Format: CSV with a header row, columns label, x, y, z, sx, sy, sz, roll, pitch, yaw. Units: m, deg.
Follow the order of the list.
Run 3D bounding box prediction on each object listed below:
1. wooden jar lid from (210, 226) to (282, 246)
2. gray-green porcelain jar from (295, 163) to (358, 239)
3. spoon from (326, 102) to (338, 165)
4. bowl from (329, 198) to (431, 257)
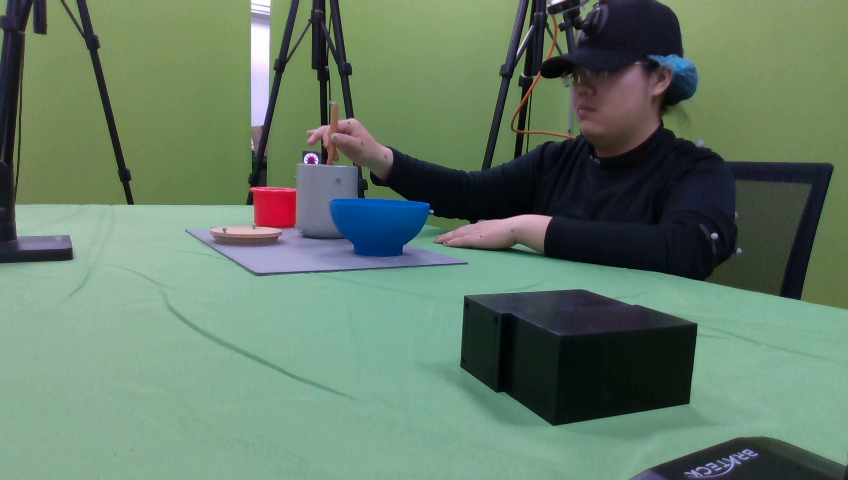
label,x,y,z,sx,sy,sz,roll,pitch,yaw
wooden jar lid,-0.279,-0.006,0.951,0.108,0.020,0.108,2,8,0
gray-green porcelain jar,-0.170,-0.069,1.054,0.106,0.126,0.106,3,7,0
spoon,-0.166,-0.143,1.054,0.042,0.193,0.021,3,13,-37
bowl,-0.067,-0.019,0.895,0.151,0.077,0.151,3,7,0
